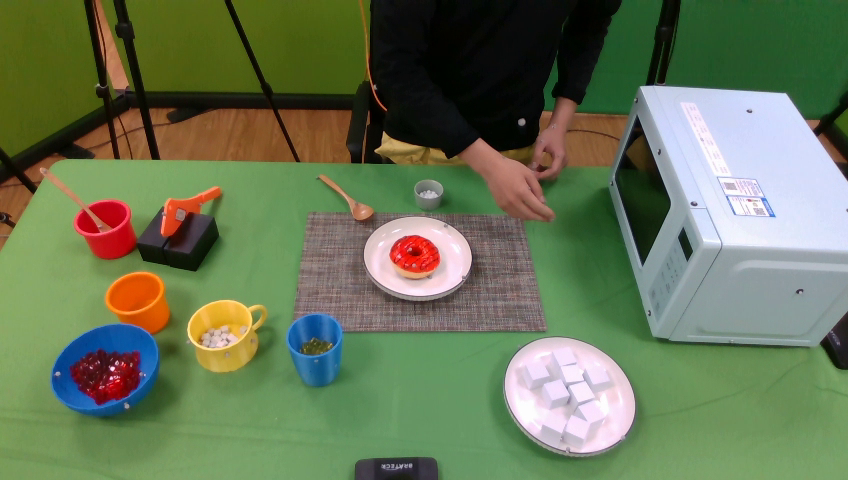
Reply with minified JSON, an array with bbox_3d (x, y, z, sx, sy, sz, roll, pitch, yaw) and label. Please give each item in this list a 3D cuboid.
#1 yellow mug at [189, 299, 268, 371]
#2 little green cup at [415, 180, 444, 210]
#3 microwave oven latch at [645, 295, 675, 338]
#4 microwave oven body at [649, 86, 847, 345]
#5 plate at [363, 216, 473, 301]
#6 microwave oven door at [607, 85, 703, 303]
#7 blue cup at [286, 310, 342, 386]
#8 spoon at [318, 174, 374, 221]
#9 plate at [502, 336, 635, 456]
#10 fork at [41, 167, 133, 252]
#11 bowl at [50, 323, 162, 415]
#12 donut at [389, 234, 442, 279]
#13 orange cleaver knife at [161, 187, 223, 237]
[{"bbox_3d":[-0.316,0.148,1.002,0.131,0.064,0.099,-32,56,-31],"label":"yellow mug"},{"bbox_3d":[0.010,-0.094,1.278,0.061,0.039,0.061,2,48,-2],"label":"little green cup"},{"bbox_3d":[0.412,0.134,1.061,0.030,0.029,0.078,3,45,0],"label":"microwave oven latch"},{"bbox_3d":[0.568,-0.053,1.118,0.326,0.261,0.439,2,45,-1],"label":"microwave oven body"},{"bbox_3d":[-0.012,0.038,1.144,0.209,0.038,0.208,2,46,-2],"label":"plate"},{"bbox_3d":[0.423,-0.094,1.141,0.039,0.245,0.353,2,46,-1],"label":"microwave oven door"},{"bbox_3d":[-0.169,0.179,0.958,0.093,0.101,0.092,1,44,-1],"label":"blue cup"},{"bbox_3d":[-0.168,-0.094,1.274,0.041,0.022,0.192,-39,57,-15],"label":"spoon"},{"bbox_3d":[0.225,0.248,0.963,0.208,0.039,0.206,2,46,-2],"label":"plate"},{"bbox_3d":[-0.624,-0.056,1.121,0.208,0.018,0.028,50,51,-15],"label":"fork"},{"bbox_3d":[-0.472,0.209,0.924,0.151,0.077,0.150,2,45,-2],"label":"bowl"},{"bbox_3d":[-0.016,0.031,1.135,0.099,0.048,0.098,4,44,-3],"label":"donut"},{"bbox_3d":[-0.448,-0.059,1.181,0.012,0.077,0.211,13,17,6],"label":"orange cleaver knife"}]
